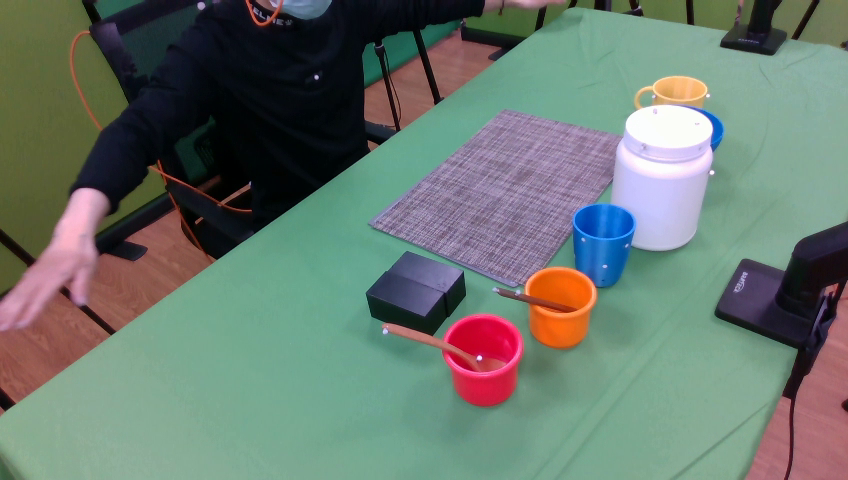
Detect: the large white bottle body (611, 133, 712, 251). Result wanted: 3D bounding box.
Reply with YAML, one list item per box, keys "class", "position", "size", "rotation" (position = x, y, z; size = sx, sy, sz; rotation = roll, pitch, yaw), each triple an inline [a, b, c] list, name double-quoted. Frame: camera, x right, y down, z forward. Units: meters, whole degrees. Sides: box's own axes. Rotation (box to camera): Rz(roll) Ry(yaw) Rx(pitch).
- class: "large white bottle body"
  position: [0.351, -0.090, 0.904]
  size: [0.130, 0.185, 0.130]
  rotation: [-5, 41, 4]

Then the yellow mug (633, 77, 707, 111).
- class: "yellow mug"
  position: [0.479, -0.270, 1.186]
  size: [0.130, 0.064, 0.100]
  rotation: [10, 44, 21]

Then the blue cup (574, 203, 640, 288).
- class: "blue cup"
  position: [0.254, 0.013, 0.864]
  size: [0.092, 0.100, 0.092]
  rotation: [-4, 38, 4]

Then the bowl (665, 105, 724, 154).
- class: "bowl"
  position: [0.438, -0.166, 1.063]
  size: [0.151, 0.077, 0.150]
  rotation: [-4, 41, 4]

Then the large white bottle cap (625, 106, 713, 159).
- class: "large white bottle cap"
  position: [0.342, -0.153, 0.848]
  size: [0.115, 0.018, 0.114]
  rotation: [-4, 41, 4]

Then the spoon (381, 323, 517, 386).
- class: "spoon"
  position: [0.033, 0.133, 0.722]
  size: [0.195, 0.021, 0.041]
  rotation: [29, 33, -26]

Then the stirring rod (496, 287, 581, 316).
- class: "stirring rod"
  position: [0.150, 0.080, 0.773]
  size: [0.178, 0.006, 0.014]
  rotation: [17, 21, -42]
